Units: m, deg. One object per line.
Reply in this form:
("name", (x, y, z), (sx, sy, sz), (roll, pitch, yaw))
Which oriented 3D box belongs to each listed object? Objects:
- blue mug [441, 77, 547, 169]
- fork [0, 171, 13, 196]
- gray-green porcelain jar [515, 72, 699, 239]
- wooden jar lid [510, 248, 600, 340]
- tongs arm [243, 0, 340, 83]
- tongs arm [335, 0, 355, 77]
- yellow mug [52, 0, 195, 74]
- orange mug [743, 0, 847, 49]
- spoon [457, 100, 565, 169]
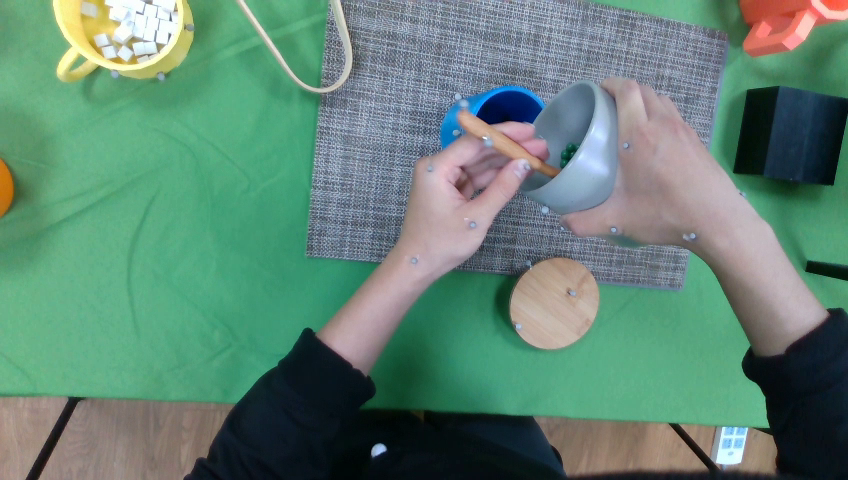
("blue mug", (0.082, -0.104, 0.601), (0.117, 0.105, 0.082), (32, 91, -16))
("fork", (-0.433, -0.063, 0.466), (0.209, 0.018, 0.028), (14, 97, -59))
("gray-green porcelain jar", (0.160, -0.066, 0.520), (0.127, 0.105, 0.106), (25, 93, -20))
("wooden jar lid", (0.148, 0.061, 0.691), (0.108, 0.020, 0.109), (-3, 103, -11))
("tongs arm", (-0.194, -0.302, 0.519), (0.051, 0.026, 0.388), (-34, 112, -9))
("tongs arm", (-0.120, -0.341, 0.532), (0.028, 0.027, 0.390), (-22, 111, -17))
("yellow mug", (-0.268, -0.191, 0.526), (0.131, 0.063, 0.100), (-45, 106, -1))
("orange mug", (0.406, -0.269, 0.656), (0.084, 0.100, 0.126), (29, 88, -16))
("spoon", (0.099, -0.064, 0.475), (0.195, 0.021, 0.041), (20, 93, -30))
